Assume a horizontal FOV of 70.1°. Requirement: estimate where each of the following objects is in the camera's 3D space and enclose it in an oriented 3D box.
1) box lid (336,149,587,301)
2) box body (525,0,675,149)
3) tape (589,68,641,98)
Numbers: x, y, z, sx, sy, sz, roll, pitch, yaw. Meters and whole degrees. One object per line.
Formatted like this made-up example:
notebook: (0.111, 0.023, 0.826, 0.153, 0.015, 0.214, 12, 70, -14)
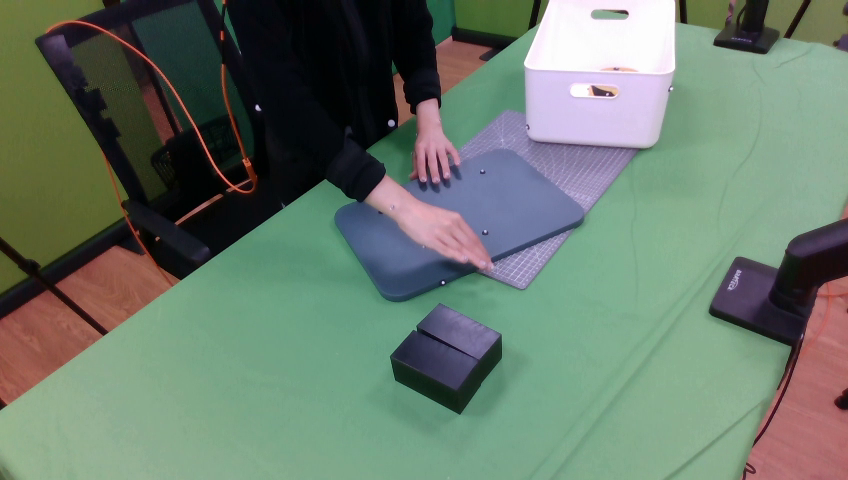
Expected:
box lid: (0.055, -0.040, 1.021, 0.373, 0.015, 0.261, -22, 42, -16)
box body: (0.356, -0.342, 1.212, 0.253, 0.161, 0.363, 7, 42, 17)
tape: (0.396, -0.303, 1.236, 0.117, 0.053, 0.116, -4, 41, 4)
